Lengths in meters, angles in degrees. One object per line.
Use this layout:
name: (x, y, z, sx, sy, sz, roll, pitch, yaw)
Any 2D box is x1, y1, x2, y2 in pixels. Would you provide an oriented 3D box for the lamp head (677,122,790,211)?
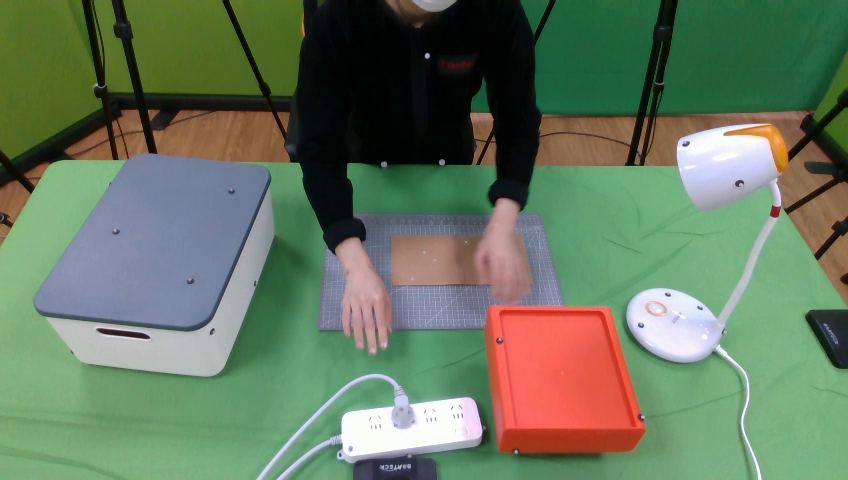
lamp head: (0.423, -0.104, 0.819, 0.122, 0.113, 0.112, -13, 33, 39)

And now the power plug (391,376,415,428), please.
power plug: (-0.030, 0.249, 0.917, 0.035, 0.053, 0.072, 3, 46, 0)

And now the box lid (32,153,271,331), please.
box lid: (-0.417, -0.015, 0.980, 0.263, 0.015, 0.369, 6, 46, 1)

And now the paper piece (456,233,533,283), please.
paper piece: (0.136, 0.035, 1.182, 0.136, 0.009, 0.137, 2, 45, -6)

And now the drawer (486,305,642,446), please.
drawer: (0.202, 0.201, 0.919, 0.195, 0.073, 0.210, 2, 47, -4)

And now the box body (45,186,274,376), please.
box body: (-0.421, 0.037, 1.031, 0.254, 0.161, 0.362, 5, 46, 1)

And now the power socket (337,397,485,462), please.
power socket: (-0.018, 0.285, 0.915, 0.227, 0.033, 0.071, -4, 46, -8)

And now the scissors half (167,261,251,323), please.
scissors half: (-0.383, 0.091, 1.080, 0.040, 0.013, 0.175, 24, 51, 32)

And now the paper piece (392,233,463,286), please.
paper piece: (0.006, 0.036, 1.169, 0.135, 0.004, 0.135, 2, 46, -3)

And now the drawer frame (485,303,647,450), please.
drawer frame: (0.204, 0.202, 0.917, 0.202, 0.083, 0.212, 1, 47, -4)

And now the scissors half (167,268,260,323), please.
scissors half: (-0.369, 0.101, 1.069, 0.175, 0.013, 0.040, -29, 50, -21)

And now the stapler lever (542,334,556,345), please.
stapler lever: (0.225, 0.181, 0.928, 0.118, 0.040, 0.027, 27, 34, 15)

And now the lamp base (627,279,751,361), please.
lamp base: (0.460, 0.100, 1.027, 0.178, 0.181, 0.160, 27, 51, 17)

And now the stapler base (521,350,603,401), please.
stapler base: (0.217, 0.203, 0.942, 0.130, 0.024, 0.041, 26, 33, 16)
